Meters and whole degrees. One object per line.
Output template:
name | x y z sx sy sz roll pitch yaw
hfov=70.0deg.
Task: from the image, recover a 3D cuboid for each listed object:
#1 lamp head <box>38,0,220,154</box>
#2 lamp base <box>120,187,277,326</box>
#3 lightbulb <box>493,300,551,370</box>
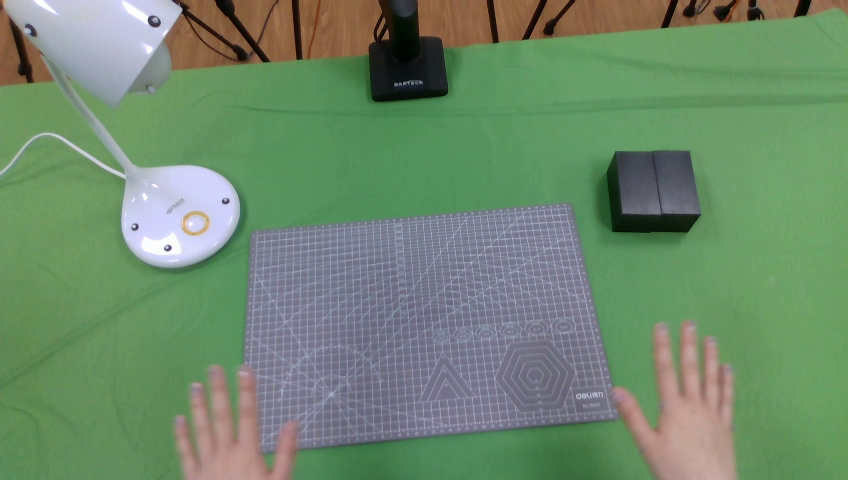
lamp head | -0.256 -0.148 0.519 0.124 0.112 0.111 27 57 -26
lamp base | -0.297 0.003 0.768 0.179 0.182 0.159 9 61 10
lightbulb | 0.119 0.116 0.769 0.059 0.060 0.106 -20 46 -10
